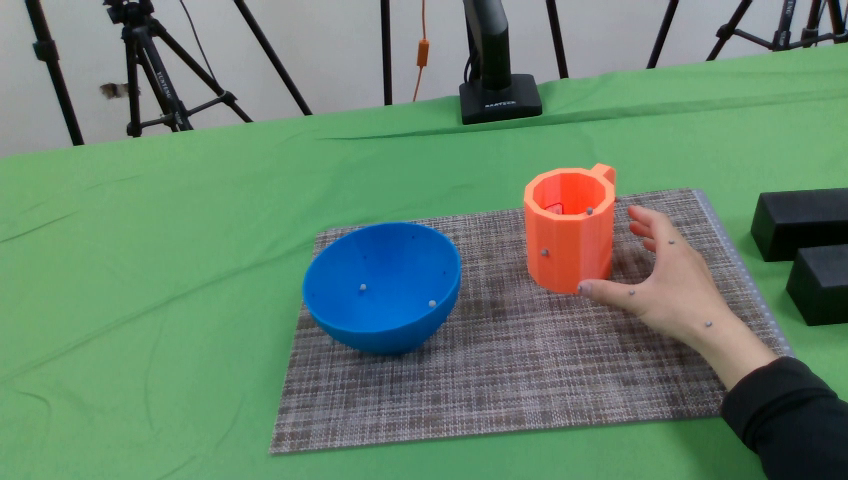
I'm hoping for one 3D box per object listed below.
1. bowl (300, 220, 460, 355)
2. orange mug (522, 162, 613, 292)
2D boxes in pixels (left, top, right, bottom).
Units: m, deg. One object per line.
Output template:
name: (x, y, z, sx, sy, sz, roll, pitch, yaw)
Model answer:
bowl: (-0.036, 0.057, 0.585, 0.151, 0.077, 0.150, -7, 40, 6)
orange mug: (0.155, -0.022, 0.619, 0.083, 0.102, 0.126, 24, 55, 35)
